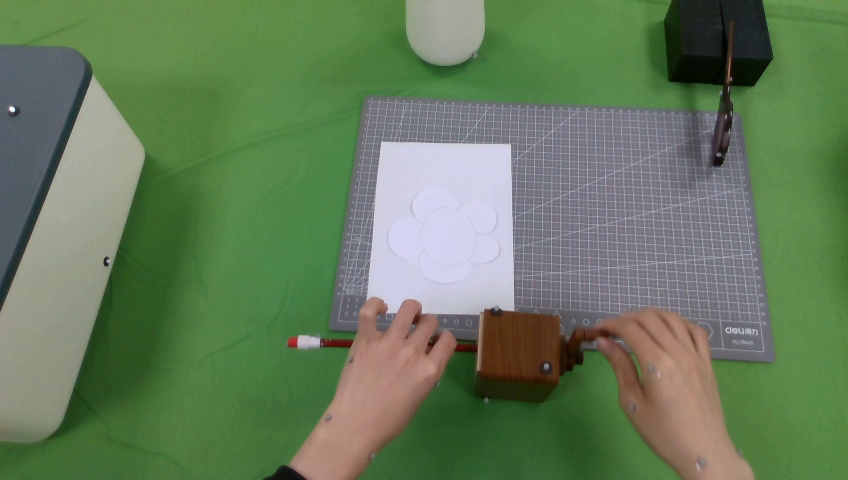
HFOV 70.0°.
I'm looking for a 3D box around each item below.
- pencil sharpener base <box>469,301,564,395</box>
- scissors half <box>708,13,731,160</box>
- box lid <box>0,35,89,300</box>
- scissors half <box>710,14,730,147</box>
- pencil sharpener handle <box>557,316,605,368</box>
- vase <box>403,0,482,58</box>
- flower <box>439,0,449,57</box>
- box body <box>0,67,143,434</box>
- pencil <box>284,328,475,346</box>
[{"bbox_3d":[0.083,0.103,0.560,0.076,0.108,0.061,5,66,4],"label":"pencil sharpener base"},{"bbox_3d":[0.337,-0.175,0.686,0.012,0.040,0.175,8,85,20],"label":"scissors half"},{"bbox_3d":[-0.465,-0.036,0.525,0.263,0.015,0.368,4,67,3],"label":"box lid"},{"bbox_3d":[0.331,-0.181,0.667,0.013,0.040,0.174,9,68,15],"label":"scissors half"},{"bbox_3d":[0.133,0.086,0.519,0.030,0.068,0.035,5,54,4],"label":"pencil sharpener handle"},{"bbox_3d":[0.019,-0.302,0.685,0.098,0.201,0.097,-1,65,3],"label":"vase"},{"bbox_3d":[0.010,-0.347,0.614,0.044,0.365,0.038,-3,49,5],"label":"flower"},{"bbox_3d":[-0.462,-0.003,0.593,0.254,0.161,0.361,4,67,4],"label":"box body"},{"bbox_3d":[-0.027,0.087,0.537,0.194,0.012,0.012,3,66,0],"label":"pencil"}]
